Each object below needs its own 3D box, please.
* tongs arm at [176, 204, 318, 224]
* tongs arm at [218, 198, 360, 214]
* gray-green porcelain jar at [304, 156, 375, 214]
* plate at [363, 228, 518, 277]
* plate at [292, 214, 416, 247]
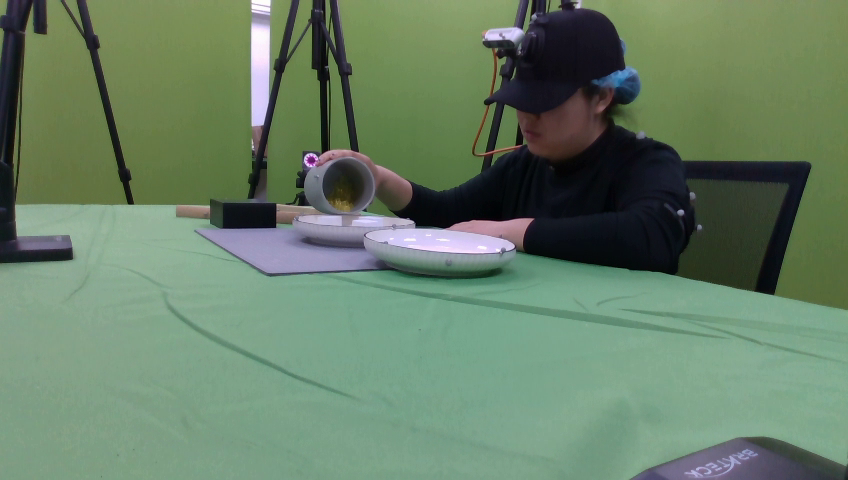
[{"bbox_3d":[-0.333,-0.051,1.273,0.387,0.028,0.028,4,5,4],"label":"tongs arm"},{"bbox_3d":[-0.313,-0.064,1.352,0.384,0.026,0.051,6,9,17],"label":"tongs arm"},{"bbox_3d":[-0.164,-0.101,1.139,0.106,0.105,0.126,-1,3,-27],"label":"gray-green porcelain jar"},{"bbox_3d":[0.021,0.016,0.817,0.209,0.038,0.209,4,9,0],"label":"plate"},{"bbox_3d":[-0.118,-0.017,1.024,0.208,0.039,0.207,3,8,0],"label":"plate"}]
